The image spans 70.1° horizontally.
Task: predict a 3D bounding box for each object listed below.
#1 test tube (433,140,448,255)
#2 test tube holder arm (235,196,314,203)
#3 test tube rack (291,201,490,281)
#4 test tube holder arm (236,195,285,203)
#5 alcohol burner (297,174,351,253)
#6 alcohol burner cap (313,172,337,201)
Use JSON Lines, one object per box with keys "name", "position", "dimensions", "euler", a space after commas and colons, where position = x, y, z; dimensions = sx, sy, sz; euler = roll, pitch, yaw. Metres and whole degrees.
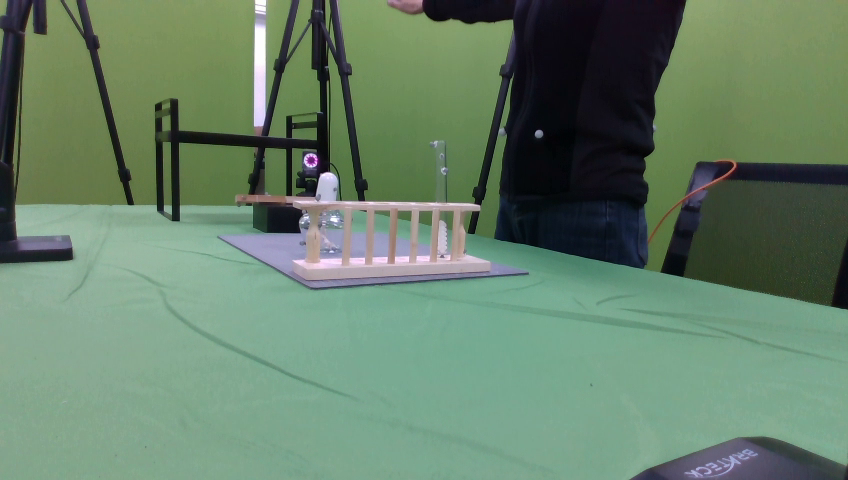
{"name": "test tube", "position": [0.022, -0.054, 0.784], "dimensions": [0.017, 0.150, 0.017], "euler": [-1, 9, 1]}
{"name": "test tube holder arm", "position": [-0.267, -0.076, 1.152], "dimensions": [0.179, 0.015, 0.013], "euler": [-1, 2, -30]}
{"name": "test tube rack", "position": [-0.035, -0.002, 0.745], "dimensions": [0.243, 0.085, 0.066], "euler": [-1, 8, -28]}
{"name": "test tube holder arm", "position": [-0.304, -0.076, 1.125], "dimensions": [0.088, 0.015, 0.010], "euler": [-1, 2, -29]}
{"name": "alcohol burner", "position": [-0.146, -0.040, 0.894], "dimensions": [0.078, 0.119, 0.078], "euler": [5, 7, 0]}
{"name": "alcohol burner cap", "position": [-0.144, -0.076, 0.888], "dimensions": [0.034, 0.048, 0.034], "euler": [8, 6, -1]}
